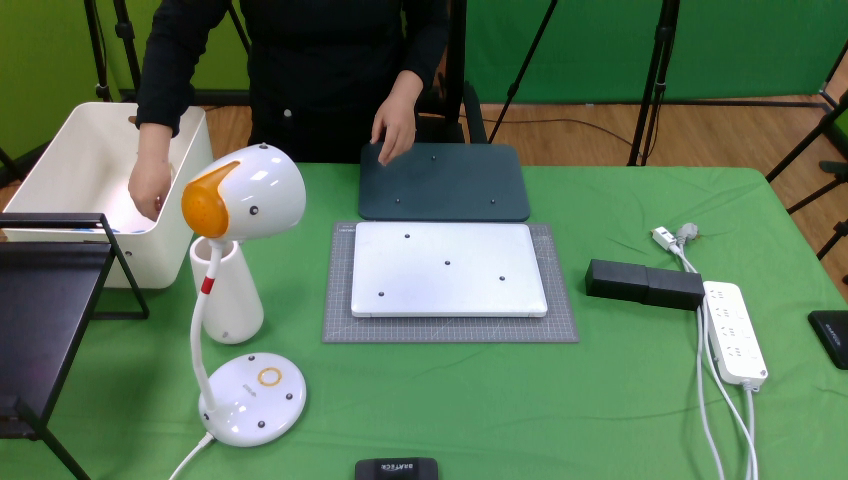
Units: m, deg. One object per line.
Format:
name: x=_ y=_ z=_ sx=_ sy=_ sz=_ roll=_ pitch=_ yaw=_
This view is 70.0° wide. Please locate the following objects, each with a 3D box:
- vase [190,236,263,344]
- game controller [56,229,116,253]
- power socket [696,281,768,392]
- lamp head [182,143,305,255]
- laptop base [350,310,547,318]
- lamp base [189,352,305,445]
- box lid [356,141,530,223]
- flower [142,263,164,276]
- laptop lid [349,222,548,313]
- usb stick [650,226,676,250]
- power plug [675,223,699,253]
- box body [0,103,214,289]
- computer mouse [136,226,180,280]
vase: x=-0.317 y=0.081 z=0.971 sx=0.098 sy=0.201 sz=0.097 roll=3 pitch=47 yaw=-3
game controller: x=-0.597 y=0.011 z=1.116 sx=0.155 sy=0.052 sz=0.096 roll=1 pitch=48 yaw=-1
power socket: x=0.543 y=0.161 z=1.077 sx=0.072 sy=0.033 sz=0.225 roll=5 pitch=46 yaw=2
lamp head: x=-0.216 y=-0.044 z=0.697 sx=0.112 sy=0.113 sz=0.123 roll=23 pitch=31 yaw=17
laptop base: x=0.041 y=0.056 z=1.149 sx=0.355 sy=0.023 sz=0.234 roll=0 pitch=43 yaw=-4
lamp base: x=-0.268 y=0.196 z=0.876 sx=0.160 sy=0.181 sz=0.179 roll=26 pitch=52 yaw=20
box lid: x=0.040 y=-0.132 z=1.339 sx=0.372 sy=0.015 sz=0.261 roll=0 pitch=46 yaw=-4
flower: x=-0.493 y=-0.053 z=1.174 sx=0.044 sy=0.038 sz=0.359 roll=-38 pitch=34 yaw=16
laptop lid: x=0.042 y=0.046 z=1.142 sx=0.357 sy=0.013 sz=0.240 roll=2 pitch=44 yaw=-3
usb stick: x=0.485 y=-0.008 z=1.238 sx=0.021 sy=0.027 sz=0.059 roll=-23 pitch=44 yaw=-13
power plug: x=0.538 y=0.000 z=1.243 sx=0.053 sy=0.035 sz=0.072 roll=18 pitch=82 yaw=-17
box body: x=-0.563 y=-0.087 z=1.140 sx=0.254 sy=0.161 sz=0.361 roll=2 pitch=46 yaw=-3
computer mouse: x=-0.491 y=0.020 z=1.118 sx=0.063 sy=0.041 sz=0.116 roll=0 pitch=54 yaw=-8
